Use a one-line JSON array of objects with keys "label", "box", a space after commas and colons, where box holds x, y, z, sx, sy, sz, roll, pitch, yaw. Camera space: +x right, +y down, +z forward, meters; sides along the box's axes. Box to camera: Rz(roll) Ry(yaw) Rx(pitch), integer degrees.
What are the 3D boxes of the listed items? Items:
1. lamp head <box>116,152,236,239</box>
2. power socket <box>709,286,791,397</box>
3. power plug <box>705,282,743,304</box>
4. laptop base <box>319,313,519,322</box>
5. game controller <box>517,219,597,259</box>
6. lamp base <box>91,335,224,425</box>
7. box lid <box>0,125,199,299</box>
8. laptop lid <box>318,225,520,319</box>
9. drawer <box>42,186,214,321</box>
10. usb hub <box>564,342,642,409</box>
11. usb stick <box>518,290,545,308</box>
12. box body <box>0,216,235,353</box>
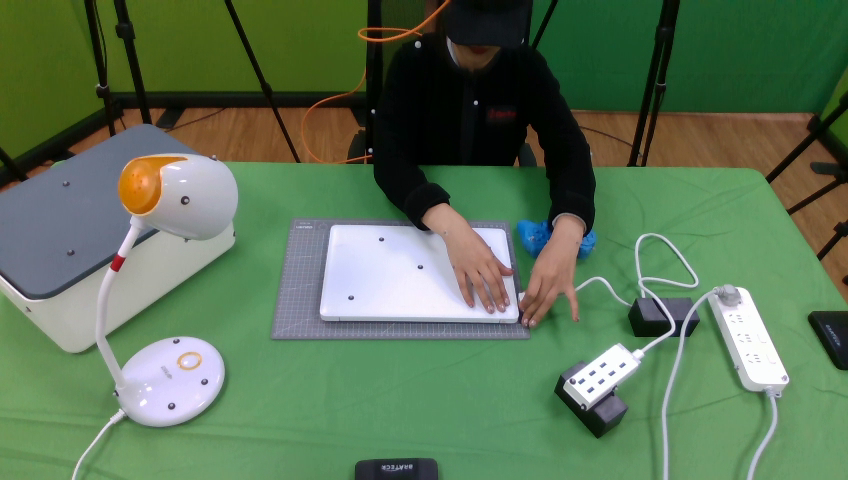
[{"label": "lamp head", "box": [-0.315, -0.057, 0.747, 0.112, 0.112, 0.123, 26, 10, 20]}, {"label": "power socket", "box": [0.568, 0.167, 1.064, 0.072, 0.033, 0.225, 2, 46, -1]}, {"label": "power plug", "box": [0.539, 0.097, 1.098, 0.072, 0.053, 0.035, 8, 47, 8]}, {"label": "laptop base", "box": [-0.009, 0.063, 1.137, 0.354, 0.023, 0.234, 1, 42, -3]}, {"label": "game controller", "box": [0.269, -0.012, 1.210, 0.155, 0.052, 0.096, 1, 49, -3]}, {"label": "lamp base", "box": [-0.401, 0.171, 0.892, 0.160, 0.181, 0.179, 30, 53, 23]}, {"label": "box lid", "box": [-0.540, -0.068, 1.016, 0.262, 0.015, 0.371, 30, 51, 23]}, {"label": "laptop lid", "box": [-0.009, 0.053, 1.131, 0.357, 0.013, 0.240, 3, 43, -2]}, {"label": "drawer", "box": [-0.529, 0.018, 1.097, 0.194, 0.073, 0.211, 29, 53, 20]}, {"label": "usb hub", "box": [0.278, 0.208, 0.942, 0.125, 0.025, 0.049, -27, 52, -28]}, {"label": "usb stick", "box": [0.186, 0.107, 1.086, 0.059, 0.027, 0.021, -6, 48, 1]}, {"label": "box body", "box": [-0.550, -0.007, 1.068, 0.253, 0.161, 0.363, 30, 51, 23]}]
